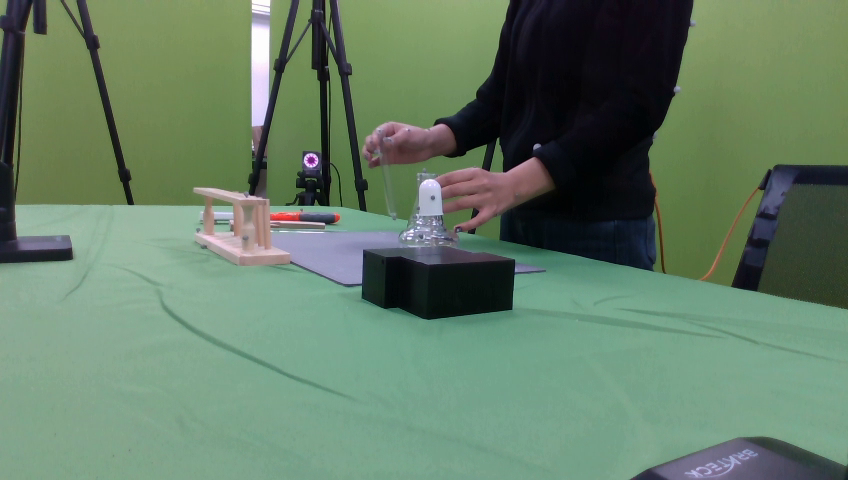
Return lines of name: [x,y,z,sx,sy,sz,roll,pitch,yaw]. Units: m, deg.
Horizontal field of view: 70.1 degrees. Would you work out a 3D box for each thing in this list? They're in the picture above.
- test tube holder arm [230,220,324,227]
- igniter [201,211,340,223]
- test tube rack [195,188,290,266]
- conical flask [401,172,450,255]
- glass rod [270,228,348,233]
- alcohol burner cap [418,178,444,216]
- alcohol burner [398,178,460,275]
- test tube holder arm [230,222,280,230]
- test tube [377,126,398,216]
test tube holder arm: [-0.275,-0.030,1.144,0.179,0.015,0.013,-2,44,-31]
igniter: [-0.311,-0.048,1.243,0.278,0.025,0.057,-1,-2,-24]
test tube rack: [-0.266,-0.025,0.864,0.067,0.085,0.241,-2,9,-33]
conical flask: [0.004,-0.042,0.910,0.075,0.122,0.075,2,7,0]
glass rod: [-0.234,-0.017,1.105,0.201,0.008,0.008,1,7,-26]
alcohol burner cap: [0.007,-0.053,0.745,0.034,0.048,0.034,-3,6,1]
alcohol burner: [0.007,-0.017,0.751,0.078,0.119,0.078,3,9,0]
test tube holder arm: [-0.312,-0.025,1.118,0.088,0.015,0.010,-1,44,-30]
test tube: [-0.061,-0.115,1.016,0.017,0.150,0.017,-8,8,1]
